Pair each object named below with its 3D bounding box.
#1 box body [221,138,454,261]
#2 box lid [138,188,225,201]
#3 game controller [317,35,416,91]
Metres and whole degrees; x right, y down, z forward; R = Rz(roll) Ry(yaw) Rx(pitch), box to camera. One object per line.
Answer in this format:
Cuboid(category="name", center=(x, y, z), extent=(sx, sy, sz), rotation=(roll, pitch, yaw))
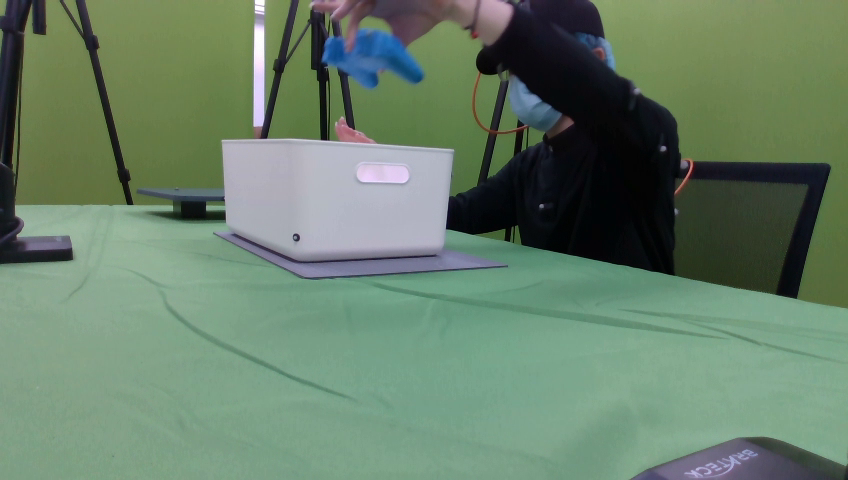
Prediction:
Cuboid(category="box body", center=(-0.151, -0.074, 0.963), extent=(0.255, 0.160, 0.362), rotation=(-3, 9, -33))
Cuboid(category="box lid", center=(-0.433, -0.105, 1.395), extent=(0.374, 0.015, 0.262), rotation=(-5, 10, -44))
Cuboid(category="game controller", center=(-0.080, -0.243, 0.820), extent=(0.097, 0.051, 0.154), rotation=(14, 1, -32))
